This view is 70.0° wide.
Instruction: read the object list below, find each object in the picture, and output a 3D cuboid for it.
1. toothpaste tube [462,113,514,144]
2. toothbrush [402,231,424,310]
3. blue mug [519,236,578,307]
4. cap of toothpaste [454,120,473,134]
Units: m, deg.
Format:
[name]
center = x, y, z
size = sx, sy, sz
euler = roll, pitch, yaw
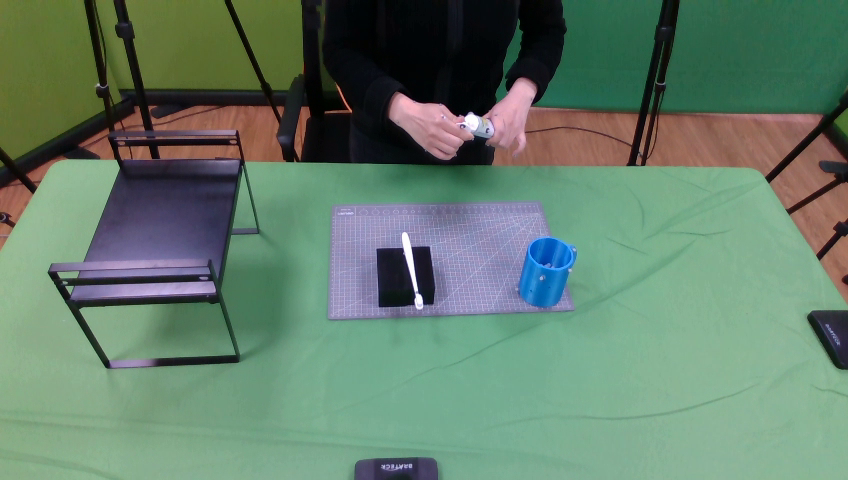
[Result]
[toothpaste tube]
center = 0.123, -0.215, 1.163
size = 0.165, 0.034, 0.055
euler = -2, 64, -55
[toothbrush]
center = -0.022, 0.049, 1.080
size = 0.014, 0.017, 0.180
euler = -9, 47, -5
[blue mug]
center = 0.234, 0.051, 1.102
size = 0.116, 0.106, 0.082
euler = -23, 52, -24
[cap of toothpaste]
center = 0.072, -0.205, 1.088
size = 0.037, 0.037, 0.011
euler = 8, 68, 3
